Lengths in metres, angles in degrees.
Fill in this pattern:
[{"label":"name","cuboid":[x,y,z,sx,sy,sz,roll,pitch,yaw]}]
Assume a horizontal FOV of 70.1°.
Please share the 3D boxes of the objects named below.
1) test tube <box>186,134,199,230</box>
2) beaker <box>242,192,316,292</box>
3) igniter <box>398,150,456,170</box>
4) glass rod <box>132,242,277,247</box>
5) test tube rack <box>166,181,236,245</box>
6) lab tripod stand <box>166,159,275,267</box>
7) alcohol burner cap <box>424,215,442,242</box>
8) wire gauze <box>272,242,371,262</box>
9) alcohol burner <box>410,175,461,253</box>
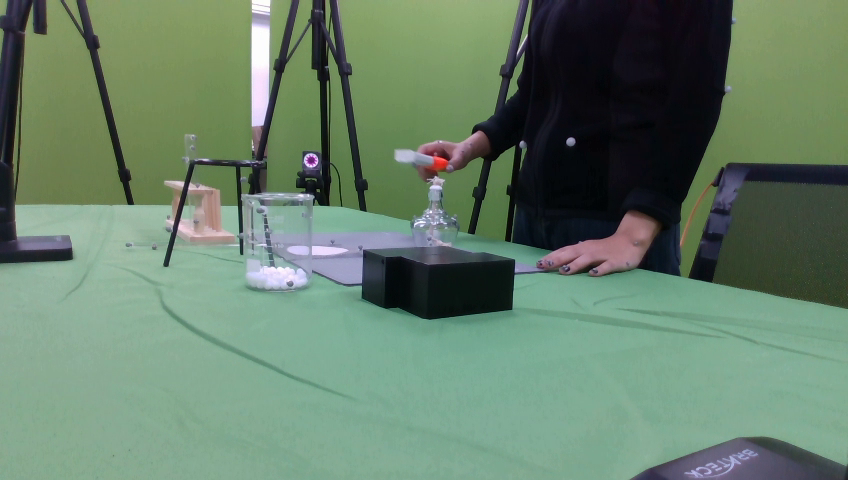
[{"label":"test tube","cuboid":[-0.360,-0.089,0.946,0.017,0.150,0.017,0,10,0]},{"label":"beaker","cuboid":[-0.157,0.000,0.642,0.084,0.100,0.074,4,7,19]},{"label":"igniter","cuboid":[0.011,-0.141,1.069,0.057,0.025,0.277,4,5,15]},{"label":"glass rod","cuboid":[-0.316,0.007,0.884,0.201,0.008,0.008,0,7,-27]},{"label":"test tube rack","cuboid":[-0.383,-0.051,1.024,0.067,0.085,0.241,-2,9,-31]},{"label":"lab tripod stand","cuboid":[-0.249,-0.036,0.764,0.148,0.131,0.148,2,9,0]},{"label":"alcohol burner cap","cuboid":[0.017,-0.022,1.098,0.034,0.048,0.034,2,9,0]},{"label":"wire gauze","cuboid":[-0.155,0.013,0.877,0.122,0.011,0.124,-3,10,-29]},{"label":"alcohol burner","cuboid":[0.018,-0.040,0.931,0.078,0.119,0.078,0,7,0]}]
